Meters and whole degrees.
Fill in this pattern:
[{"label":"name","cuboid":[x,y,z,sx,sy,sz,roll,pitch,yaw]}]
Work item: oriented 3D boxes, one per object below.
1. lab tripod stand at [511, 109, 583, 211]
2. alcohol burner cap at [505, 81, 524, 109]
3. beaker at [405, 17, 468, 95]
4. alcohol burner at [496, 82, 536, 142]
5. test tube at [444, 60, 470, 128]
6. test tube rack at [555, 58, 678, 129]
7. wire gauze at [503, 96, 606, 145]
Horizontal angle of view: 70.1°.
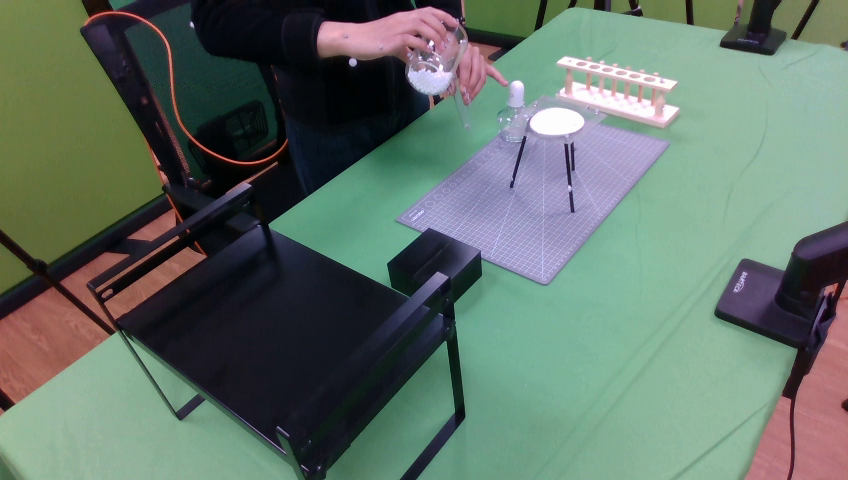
[{"label":"lab tripod stand","cuboid":[0.220,-0.138,1.014,0.148,0.132,0.147,-3,41,3]},{"label":"alcohol burner cap","cuboid":[0.173,-0.277,1.145,0.034,0.048,0.033,1,40,-1]},{"label":"beaker","cuboid":[0.018,-0.273,0.914,0.073,0.084,0.100,10,54,17]},{"label":"alcohol burner","cuboid":[0.178,-0.250,1.168,0.078,0.119,0.077,-5,42,5]},{"label":"test tube","cuboid":[0.058,-0.244,1.030,0.017,0.151,0.017,-8,55,13]},{"label":"test tube rack","cuboid":[0.390,-0.307,1.229,0.240,0.085,0.067,26,50,33]},{"label":"wire gauze","cuboid":[0.211,-0.192,0.975,0.120,0.011,0.125,24,49,32]}]
